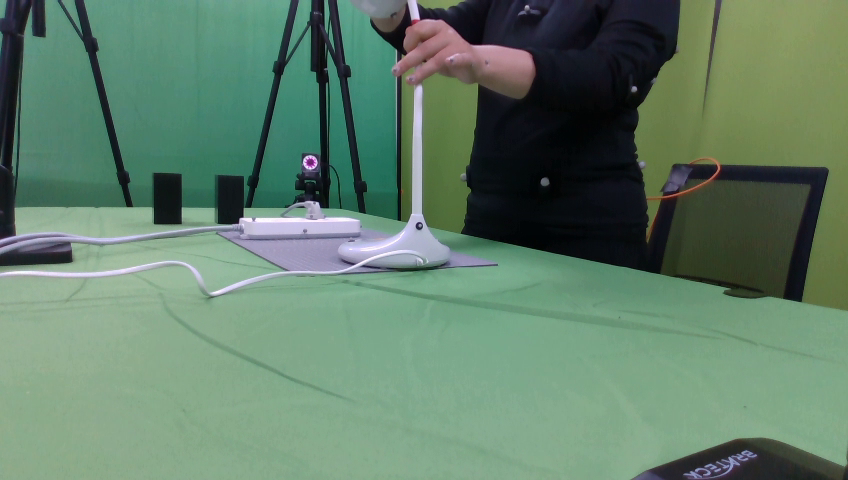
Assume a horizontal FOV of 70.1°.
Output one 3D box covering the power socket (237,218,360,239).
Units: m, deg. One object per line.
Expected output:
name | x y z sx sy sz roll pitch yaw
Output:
power socket | -0.220 -0.023 1.080 0.228 0.032 0.072 -2 7 -33

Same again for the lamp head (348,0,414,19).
lamp head | -0.045 -0.370 0.816 0.113 0.112 0.122 -1 1 -30

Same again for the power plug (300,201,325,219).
power plug | -0.207 -0.046 1.120 0.035 0.052 0.072 1 4 -21

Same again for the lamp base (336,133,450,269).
lamp base | -0.032 -0.057 0.830 0.161 0.180 0.178 -2 12 -34
